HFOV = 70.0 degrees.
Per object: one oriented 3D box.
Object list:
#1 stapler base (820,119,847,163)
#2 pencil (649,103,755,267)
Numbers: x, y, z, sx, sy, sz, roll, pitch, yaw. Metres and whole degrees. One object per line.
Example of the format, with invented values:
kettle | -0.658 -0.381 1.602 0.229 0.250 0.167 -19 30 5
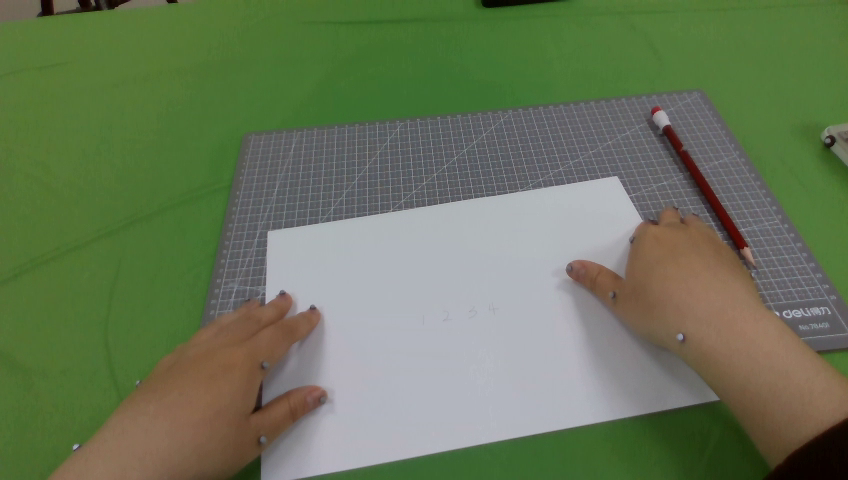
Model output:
stapler base | 0.378 -0.063 0.492 0.041 0.025 0.129 -11 50 -2
pencil | 0.226 -0.052 0.501 0.012 0.012 0.192 -8 50 -3
